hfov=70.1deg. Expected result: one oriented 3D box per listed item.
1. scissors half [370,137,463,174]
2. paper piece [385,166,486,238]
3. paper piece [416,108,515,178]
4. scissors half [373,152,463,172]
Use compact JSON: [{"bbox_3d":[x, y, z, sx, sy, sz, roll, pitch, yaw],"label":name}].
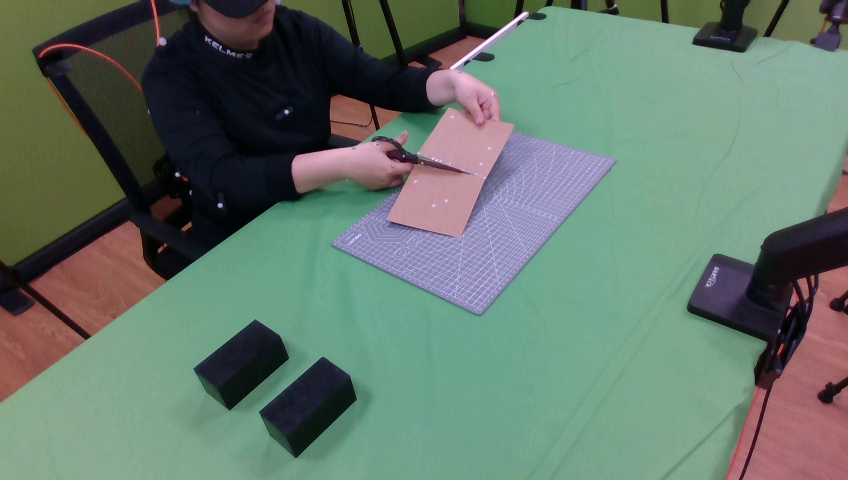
[{"bbox_3d":[-0.014,-0.147,1.068,0.175,0.040,0.013,21,61,5],"label":"scissors half"},{"bbox_3d":[0.021,-0.069,1.027,0.135,0.004,0.135,14,56,17],"label":"paper piece"},{"bbox_3d":[0.077,-0.179,1.094,0.135,0.009,0.138,24,57,13],"label":"paper piece"},{"bbox_3d":[-0.012,-0.134,1.085,0.174,0.040,0.013,9,53,23],"label":"scissors half"}]
